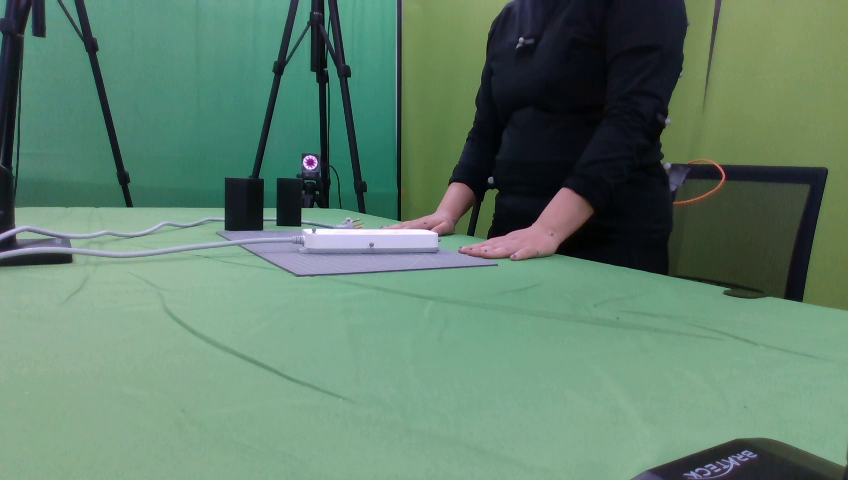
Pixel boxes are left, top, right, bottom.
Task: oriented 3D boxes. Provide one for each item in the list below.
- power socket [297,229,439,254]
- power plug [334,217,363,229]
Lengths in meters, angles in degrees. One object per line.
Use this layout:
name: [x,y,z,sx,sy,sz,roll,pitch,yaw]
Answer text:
power socket: [-0.084,0.001,0.941,0.228,0.032,0.072,0,7,-20]
power plug: [-0.143,-0.031,1.129,0.053,0.035,0.072,-16,22,-9]
